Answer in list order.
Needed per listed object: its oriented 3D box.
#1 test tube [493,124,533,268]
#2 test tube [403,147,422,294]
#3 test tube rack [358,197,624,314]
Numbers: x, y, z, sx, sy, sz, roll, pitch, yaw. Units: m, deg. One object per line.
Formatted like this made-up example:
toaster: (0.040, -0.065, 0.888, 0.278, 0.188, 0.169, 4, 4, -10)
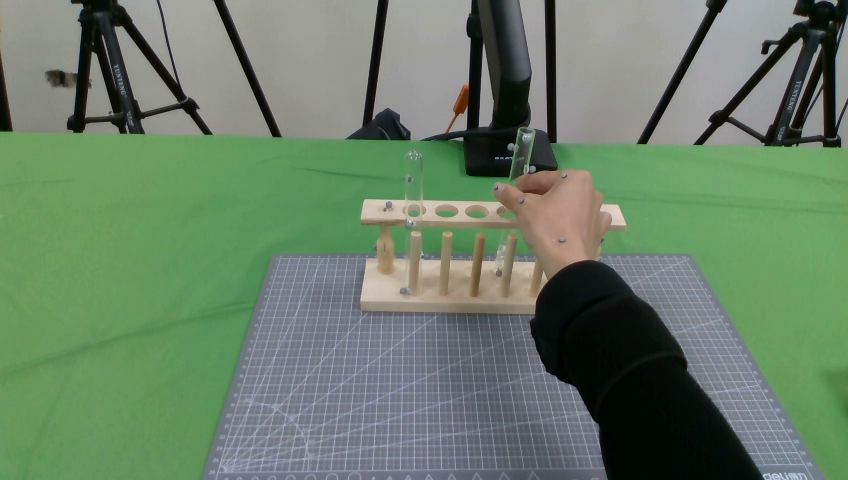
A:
test tube: (0.081, -0.035, 0.559, 0.017, 0.151, 0.017, 4, 35, -2)
test tube: (-0.010, -0.013, 0.534, 0.017, 0.152, 0.017, 1, 36, 0)
test tube rack: (0.061, 0.015, 0.574, 0.242, 0.086, 0.066, 1, 37, 0)
